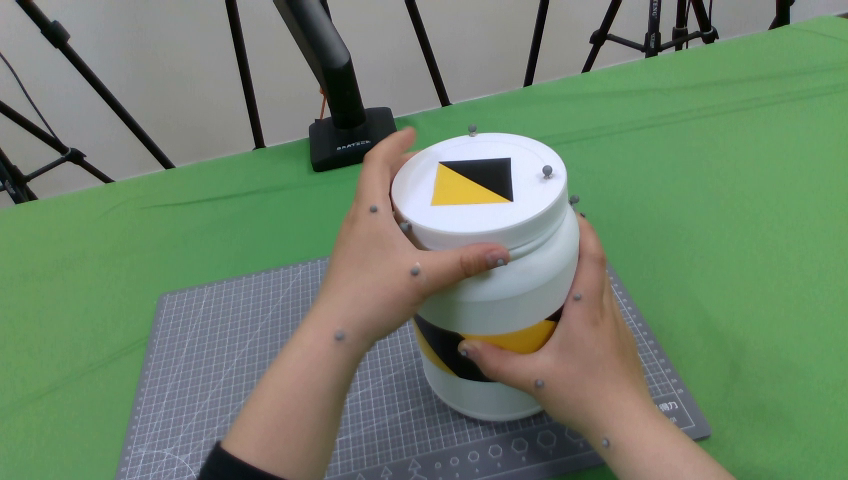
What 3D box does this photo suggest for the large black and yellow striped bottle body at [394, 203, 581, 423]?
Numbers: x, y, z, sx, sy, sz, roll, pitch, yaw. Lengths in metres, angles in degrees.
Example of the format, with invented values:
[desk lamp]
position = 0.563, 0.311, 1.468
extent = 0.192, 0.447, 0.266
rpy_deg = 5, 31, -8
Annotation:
[large black and yellow striped bottle body]
position = 0.050, 0.032, 0.450
extent = 0.130, 0.186, 0.129
rpy_deg = -7, 40, 6

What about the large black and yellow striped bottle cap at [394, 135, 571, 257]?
[large black and yellow striped bottle cap]
position = 0.037, -0.033, 0.396
extent = 0.115, 0.019, 0.114
rpy_deg = -7, 39, 6
